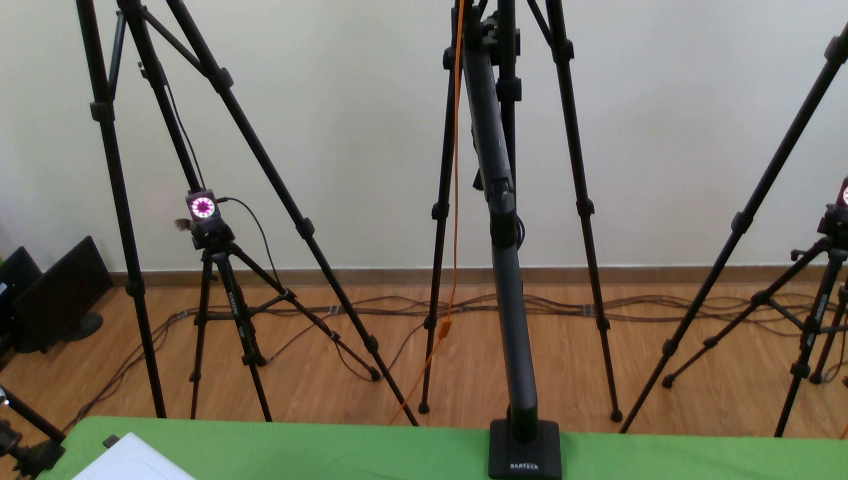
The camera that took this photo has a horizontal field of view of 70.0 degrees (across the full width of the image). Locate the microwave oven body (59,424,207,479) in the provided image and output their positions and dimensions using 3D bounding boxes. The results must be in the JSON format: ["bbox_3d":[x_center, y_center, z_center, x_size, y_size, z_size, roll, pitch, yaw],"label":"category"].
[{"bbox_3d":[-0.402,0.498,0.698,0.323,0.262,0.441,18,43,30],"label":"microwave oven body"}]
